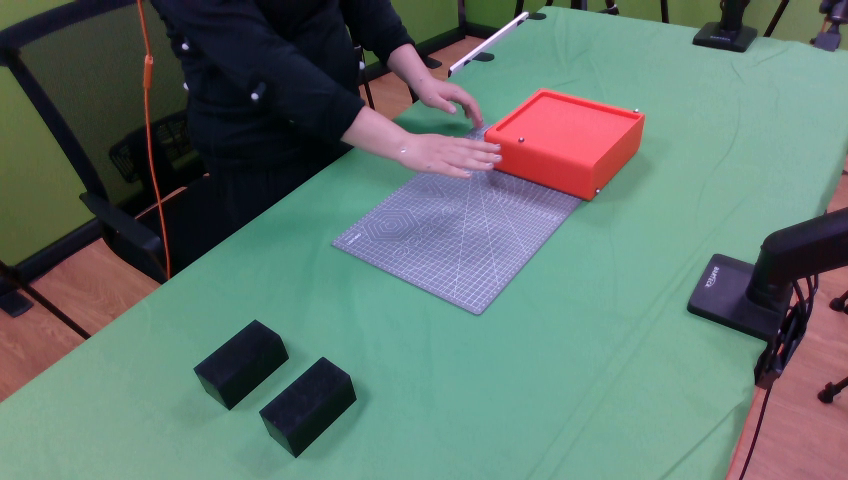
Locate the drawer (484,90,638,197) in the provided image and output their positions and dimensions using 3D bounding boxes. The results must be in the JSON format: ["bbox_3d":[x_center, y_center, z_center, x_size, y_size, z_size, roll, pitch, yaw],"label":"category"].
[{"bbox_3d":[0.247,-0.180,1.097,0.210,0.073,0.195,25,49,31],"label":"drawer"}]

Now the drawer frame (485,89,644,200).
[{"bbox_3d":[0.253,-0.180,1.094,0.212,0.083,0.202,24,48,31],"label":"drawer frame"}]

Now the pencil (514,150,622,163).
[{"bbox_3d":[0.260,-0.150,1.099,0.194,0.012,0.012,-4,40,7],"label":"pencil"}]
